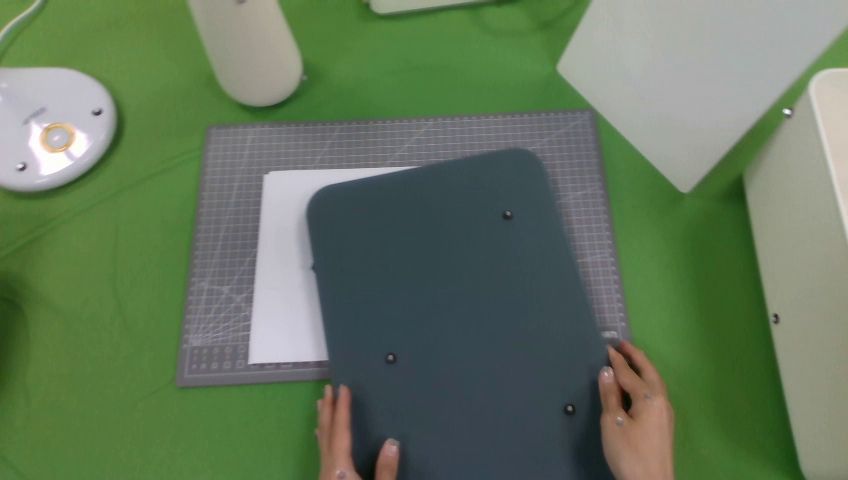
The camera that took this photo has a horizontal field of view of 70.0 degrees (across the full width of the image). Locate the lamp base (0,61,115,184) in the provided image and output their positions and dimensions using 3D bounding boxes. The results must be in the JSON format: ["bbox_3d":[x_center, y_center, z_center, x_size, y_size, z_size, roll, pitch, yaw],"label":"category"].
[{"bbox_3d":[-0.448,-0.171,0.625,0.178,0.181,0.160,29,71,15],"label":"lamp base"}]

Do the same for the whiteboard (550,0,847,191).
[{"bbox_3d":[0.305,-0.240,0.606,0.144,0.307,0.215,-27,68,-30],"label":"whiteboard"}]

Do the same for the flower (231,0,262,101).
[{"bbox_3d":[-0.192,-0.283,0.568,0.038,0.365,0.043,-14,50,-12],"label":"flower"}]

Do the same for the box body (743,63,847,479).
[{"bbox_3d":[0.460,0.040,0.537,0.254,0.161,0.361,0,68,1],"label":"box body"}]

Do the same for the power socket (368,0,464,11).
[{"bbox_3d":[0.030,-0.336,0.763,0.227,0.033,0.071,-8,69,-3],"label":"power socket"}]

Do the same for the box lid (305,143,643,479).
[{"bbox_3d":[0.036,0.079,0.595,0.263,0.015,0.368,-12,69,-5],"label":"box lid"}]

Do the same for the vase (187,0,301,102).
[{"bbox_3d":[-0.196,-0.234,0.637,0.098,0.201,0.097,-1,68,2],"label":"vase"}]

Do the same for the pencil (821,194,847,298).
[{"bbox_3d":[0.428,0.041,0.611,0.012,0.012,0.192,0,68,2],"label":"pencil"}]
